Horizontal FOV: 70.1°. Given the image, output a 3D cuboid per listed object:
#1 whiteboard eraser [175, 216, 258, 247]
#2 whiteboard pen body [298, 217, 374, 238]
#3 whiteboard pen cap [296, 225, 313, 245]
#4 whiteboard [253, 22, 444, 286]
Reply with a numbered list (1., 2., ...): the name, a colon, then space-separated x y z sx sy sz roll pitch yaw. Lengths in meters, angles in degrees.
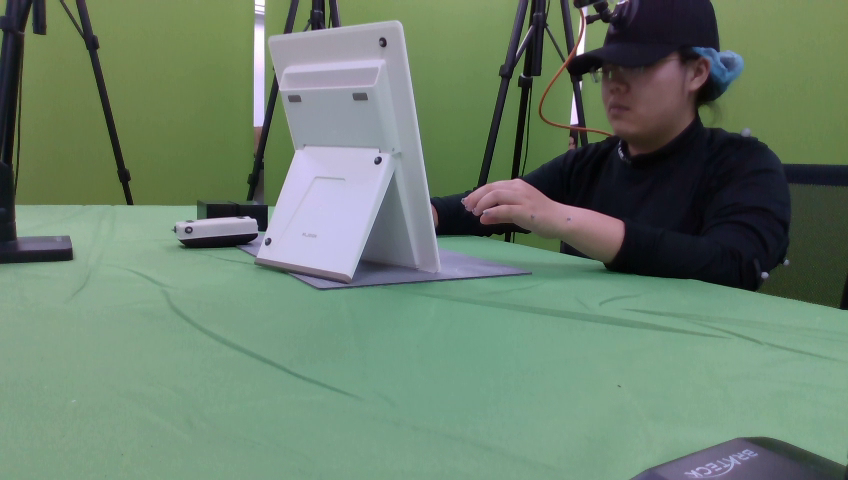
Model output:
1. whiteboard eraser: -0.313 -0.012 0.915 0.113 0.042 0.055 -5 12 -30
2. whiteboard pen body: -0.145 -0.020 1.008 0.141 0.017 0.017 -14 16 -35
3. whiteboard pen cap: -0.193 -0.008 0.969 0.018 0.033 0.018 17 -31 11
4. whiteboard: -0.125 -0.081 0.715 0.216 0.305 0.144 9 29 36
